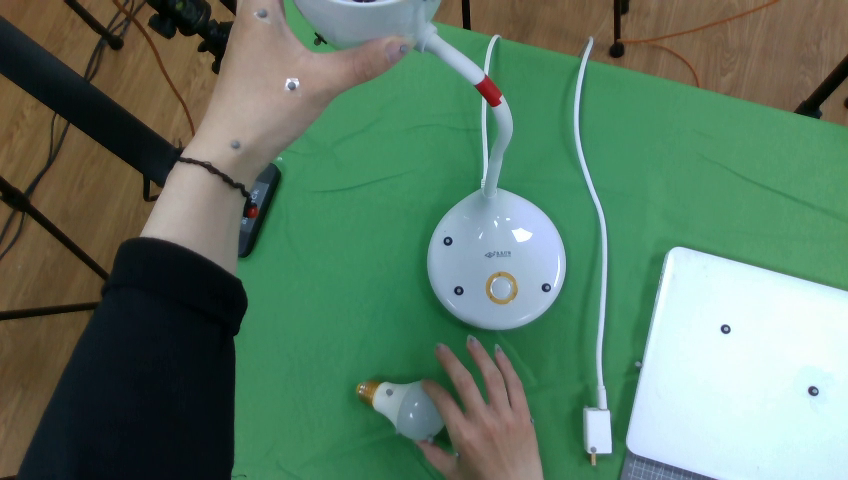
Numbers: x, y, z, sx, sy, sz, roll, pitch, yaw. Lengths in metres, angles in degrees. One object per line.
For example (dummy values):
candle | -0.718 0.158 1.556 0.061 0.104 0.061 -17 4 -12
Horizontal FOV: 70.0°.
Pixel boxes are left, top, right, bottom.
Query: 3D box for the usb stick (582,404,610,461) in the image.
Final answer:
usb stick | 0.183 0.206 0.648 0.027 0.021 0.059 2 86 2

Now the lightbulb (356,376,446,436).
lightbulb | -0.027 0.172 0.651 0.107 0.060 0.059 13 76 26

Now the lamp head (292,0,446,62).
lamp head | -0.033 -0.166 0.385 0.112 0.123 0.112 0 76 1

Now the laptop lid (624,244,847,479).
laptop lid | 0.409 0.157 0.641 0.356 0.013 0.241 17 79 7

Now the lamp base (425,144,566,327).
lamp base | 0.074 -0.011 0.625 0.160 0.181 0.178 -14 73 -1

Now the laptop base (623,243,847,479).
laptop base | 0.411 0.157 0.653 0.354 0.023 0.235 16 80 6
